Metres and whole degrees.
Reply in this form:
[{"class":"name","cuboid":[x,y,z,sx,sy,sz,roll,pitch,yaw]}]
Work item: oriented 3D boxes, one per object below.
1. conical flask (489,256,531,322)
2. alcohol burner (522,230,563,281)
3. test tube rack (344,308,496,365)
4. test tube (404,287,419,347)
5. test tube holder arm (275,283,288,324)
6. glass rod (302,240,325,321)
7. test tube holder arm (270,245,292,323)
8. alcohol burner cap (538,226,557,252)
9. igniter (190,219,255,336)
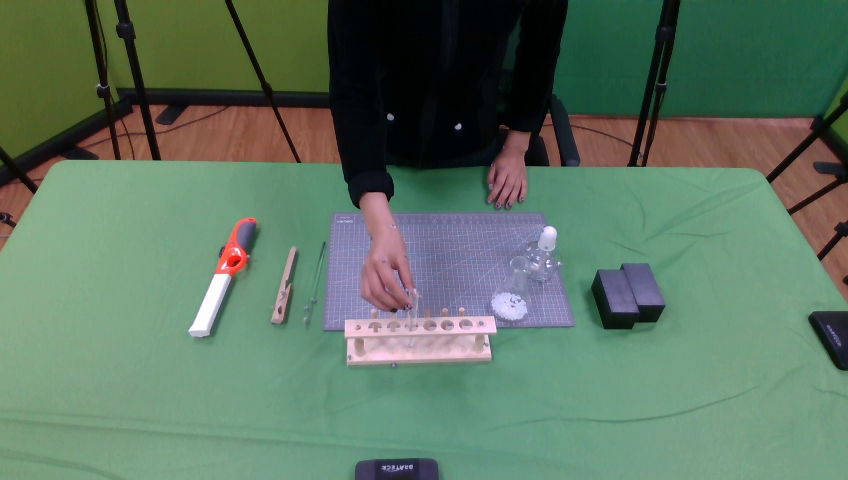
[{"class":"conical flask","cuboid":[0.158,0.081,1.060,0.075,0.122,0.075,2,46,-2]},{"class":"alcohol burner","cuboid":[0.224,0.020,1.131,0.078,0.119,0.077,4,46,-4]},{"class":"test tube rack","cuboid":[-0.009,0.154,1.006,0.242,0.085,0.066,-1,46,-5]},{"class":"test tube","cuboid":[-0.020,0.124,0.952,0.017,0.151,0.017,3,48,-3]},{"class":"test tube holder arm","cuboid":[-0.254,0.111,1.077,0.010,0.015,0.087,30,38,-28]},{"class":"glass rod","cuboid":[-0.203,0.071,1.123,0.008,0.008,0.198,4,44,1]},{"class":"test tube holder arm","cuboid":[-0.260,0.076,1.105,0.013,0.015,0.177,29,38,-29]},{"class":"alcohol burner cap","cuboid":[0.226,-0.004,1.104,0.034,0.048,0.033,-1,50,1]},{"class":"igniter","cuboid":[-0.365,0.058,1.110,0.057,0.025,0.275,-1,45,8]}]
